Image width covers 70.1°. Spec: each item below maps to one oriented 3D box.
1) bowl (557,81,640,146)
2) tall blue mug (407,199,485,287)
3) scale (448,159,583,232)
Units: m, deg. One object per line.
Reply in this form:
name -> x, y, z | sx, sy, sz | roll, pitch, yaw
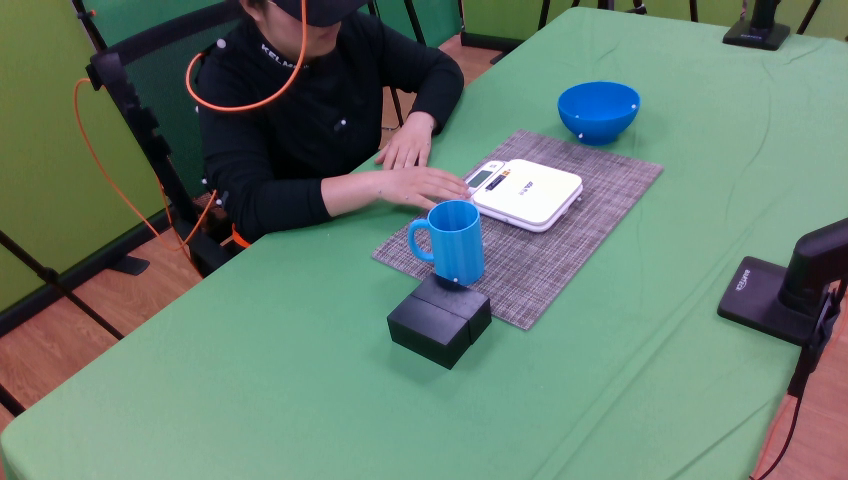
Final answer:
bowl -> 0.330, -0.233, 1.152 | 0.151, 0.077, 0.150 | -5, 40, 5
tall blue mug -> 0.034, 0.008, 0.892 | 0.107, 0.108, 0.077 | -13, 41, -5
scale -> 0.156, -0.085, 1.040 | 0.199, 0.032, 0.149 | 22, 49, 32
